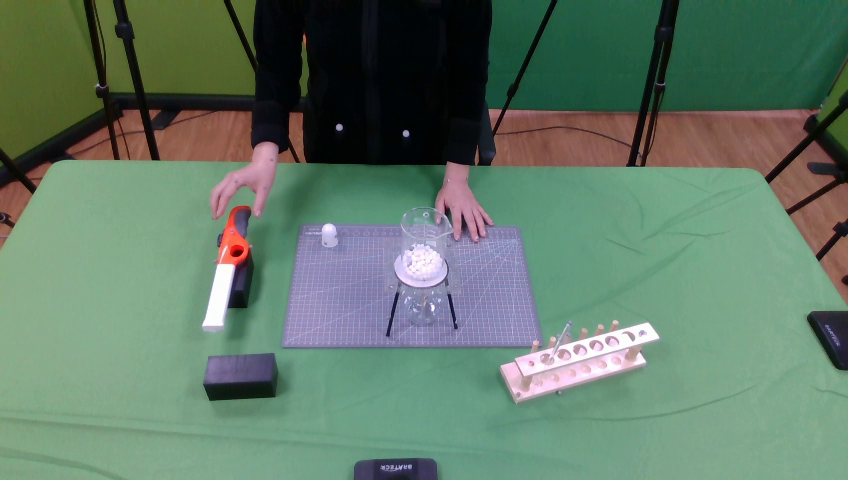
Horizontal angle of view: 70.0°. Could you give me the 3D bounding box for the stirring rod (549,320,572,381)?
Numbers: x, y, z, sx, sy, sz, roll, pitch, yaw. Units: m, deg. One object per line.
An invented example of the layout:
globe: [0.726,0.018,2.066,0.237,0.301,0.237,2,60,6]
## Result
stirring rod: [0.202,0.167,0.901,0.006,0.177,0.014,-17,54,-11]

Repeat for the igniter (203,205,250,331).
igniter: [-0.345,0.039,1.065,0.057,0.025,0.274,2,48,-6]

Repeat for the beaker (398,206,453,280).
beaker: [0.000,0.008,0.950,0.084,0.101,0.073,10,46,6]

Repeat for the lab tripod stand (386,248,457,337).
lab tripod stand: [-0.010,0.087,1.032,0.148,0.132,0.147,1,45,-1]

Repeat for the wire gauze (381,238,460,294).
wire gauze: [-0.007,0.042,0.985,0.125,0.011,0.120,-1,43,-2]

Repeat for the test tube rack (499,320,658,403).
test tube rack: [0.252,0.187,0.994,0.243,0.085,0.066,-12,48,-15]

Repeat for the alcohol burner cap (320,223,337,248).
alcohol burner cap: [-0.187,-0.011,1.176,0.034,0.048,0.033,2,46,-2]

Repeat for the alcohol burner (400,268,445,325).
alcohol burner: [-0.003,0.092,1.042,0.078,0.120,0.077,1,46,-1]
